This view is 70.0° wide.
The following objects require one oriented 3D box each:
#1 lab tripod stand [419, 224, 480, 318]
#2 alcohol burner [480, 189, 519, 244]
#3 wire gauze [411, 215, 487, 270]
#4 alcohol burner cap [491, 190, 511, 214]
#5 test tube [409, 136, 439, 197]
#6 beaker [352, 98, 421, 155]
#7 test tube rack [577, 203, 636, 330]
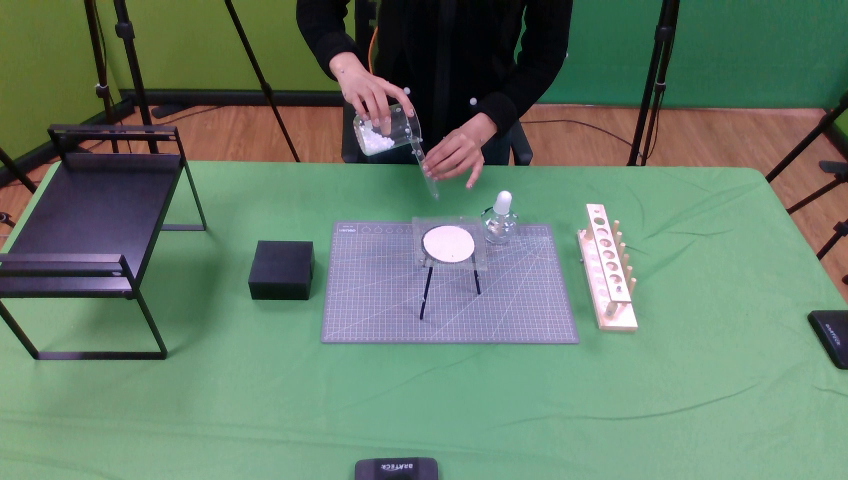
[{"bbox_3d":[0.034,0.052,1.070,0.148,0.132,0.147,3,48,-3],"label":"lab tripod stand"},{"bbox_3d":[0.150,-0.051,1.191,0.078,0.120,0.077,1,46,-1],"label":"alcohol burner"},{"bbox_3d":[0.041,0.002,1.026,0.125,0.011,0.120,1,46,-3],"label":"wire gauze"},{"bbox_3d":[0.151,-0.076,1.166,0.034,0.048,0.033,5,52,-6],"label":"alcohol burner cap"},{"bbox_3d":[0.002,-0.133,1.126,0.017,0.151,0.017,-11,49,12],"label":"test tube"},{"bbox_3d":[-0.065,-0.189,1.033,0.100,0.084,0.073,-19,52,-11],"label":"beaker"},{"bbox_3d":[0.348,0.045,1.138,0.067,0.085,0.241,2,46,-2],"label":"test tube rack"}]
